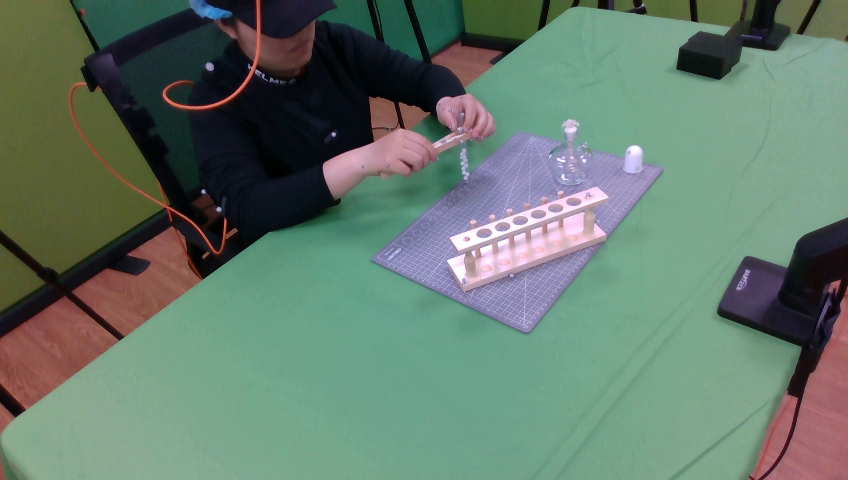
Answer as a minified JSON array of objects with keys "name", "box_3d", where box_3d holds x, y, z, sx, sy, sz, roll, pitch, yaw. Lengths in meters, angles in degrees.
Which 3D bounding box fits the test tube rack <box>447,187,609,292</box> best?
[{"name":"test tube rack","box_3d":[0.155,-0.011,0.913,0.243,0.085,0.066,-19,41,-12]}]

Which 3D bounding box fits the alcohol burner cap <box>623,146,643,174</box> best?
[{"name":"alcohol burner cap","box_3d":[0.369,-0.142,1.061,0.034,0.048,0.033,-7,40,6]}]

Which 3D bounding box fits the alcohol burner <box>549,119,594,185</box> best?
[{"name":"alcohol burner","box_3d":[0.254,-0.155,1.043,0.078,0.120,0.077,-7,40,6]}]

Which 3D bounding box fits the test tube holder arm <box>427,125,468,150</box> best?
[{"name":"test tube holder arm","box_3d":[0.040,-0.170,1.037,0.088,0.015,0.010,-36,39,-23]}]

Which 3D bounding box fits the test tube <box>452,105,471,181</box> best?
[{"name":"test tube","box_3d":[0.066,-0.166,1.051,0.017,0.151,0.017,-7,40,6]}]

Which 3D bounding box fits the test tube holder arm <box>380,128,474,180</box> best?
[{"name":"test tube holder arm","box_3d":[0.006,-0.146,1.020,0.179,0.015,0.013,-28,36,-14]}]
